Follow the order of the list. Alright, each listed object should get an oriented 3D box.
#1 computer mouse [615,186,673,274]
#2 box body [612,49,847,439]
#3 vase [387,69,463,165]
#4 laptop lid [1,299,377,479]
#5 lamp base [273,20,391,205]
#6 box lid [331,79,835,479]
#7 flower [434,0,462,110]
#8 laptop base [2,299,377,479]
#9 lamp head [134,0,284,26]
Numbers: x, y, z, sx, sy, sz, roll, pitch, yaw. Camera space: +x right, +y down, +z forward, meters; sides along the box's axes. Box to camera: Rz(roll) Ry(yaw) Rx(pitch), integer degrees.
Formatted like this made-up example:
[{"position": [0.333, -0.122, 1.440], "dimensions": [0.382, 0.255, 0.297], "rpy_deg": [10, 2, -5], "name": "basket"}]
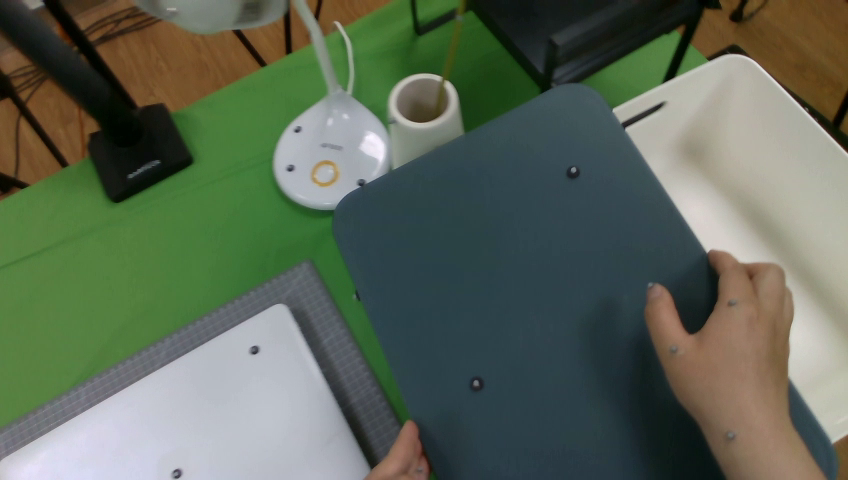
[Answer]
[{"position": [0.260, -0.015, 0.718], "dimensions": [0.062, 0.041, 0.116], "rpy_deg": [4, 63, 9], "name": "computer mouse"}, {"position": [0.319, 0.016, 0.637], "dimensions": [0.254, 0.161, 0.361], "rpy_deg": [-28, 67, -8], "name": "box body"}, {"position": [0.004, -0.104, 0.695], "dimensions": [0.098, 0.201, 0.097], "rpy_deg": [-2, 64, 5], "name": "vase"}, {"position": [-0.254, 0.241, 0.646], "dimensions": [0.357, 0.013, 0.239], "rpy_deg": [-28, 69, -8], "name": "laptop lid"}, {"position": [-0.127, -0.161, 0.742], "dimensions": [0.160, 0.182, 0.177], "rpy_deg": [1, 63, 5], "name": "lamp base"}, {"position": [0.098, 0.062, 0.474], "dimensions": [0.263, 0.015, 0.368], "rpy_deg": [-27, 71, 3], "name": "box lid"}, {"position": [0.016, -0.148, 0.624], "dimensions": [0.038, 0.364, 0.043], "rpy_deg": [-15, 55, -21], "name": "flower"}, {"position": [-0.255, 0.244, 0.657], "dimensions": [0.354, 0.023, 0.234], "rpy_deg": [-30, 71, -9], "name": "laptop base"}, {"position": [-0.160, -0.233, 0.447], "dimensions": [0.112, 0.113, 0.122], "rpy_deg": [-2, 83, 4], "name": "lamp head"}]
